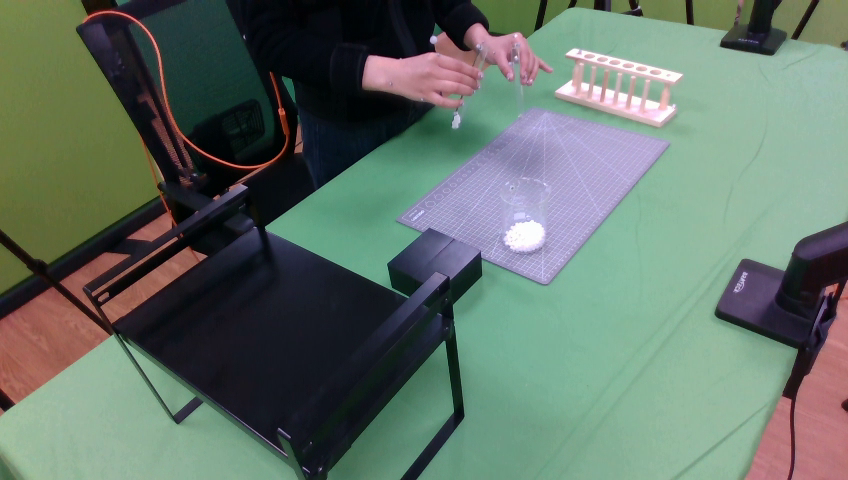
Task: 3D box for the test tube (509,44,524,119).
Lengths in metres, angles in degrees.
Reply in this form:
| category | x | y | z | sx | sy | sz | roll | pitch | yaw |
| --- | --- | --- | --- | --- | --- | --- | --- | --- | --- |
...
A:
| category | x | y | z | sx | sy | sz | roll | pitch | yaw |
| --- | --- | --- | --- | --- | --- | --- | --- | --- | --- |
| test tube | 0.169 | -0.285 | 1.102 | 0.017 | 0.151 | 0.017 | -8 | 45 | 8 |

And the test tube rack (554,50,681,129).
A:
| category | x | y | z | sx | sy | sz | roll | pitch | yaw |
| --- | --- | --- | --- | --- | --- | --- | --- | --- | --- |
| test tube rack | 0.388 | -0.311 | 1.234 | 0.240 | 0.085 | 0.067 | 28 | 52 | 35 |

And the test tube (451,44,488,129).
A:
| category | x | y | z | sx | sy | sz | roll | pitch | yaw |
| --- | --- | --- | --- | --- | --- | --- | --- | --- | --- |
| test tube | 0.074 | -0.251 | 1.003 | 0.017 | 0.150 | 0.017 | 15 | 33 | -9 |

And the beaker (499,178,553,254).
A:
| category | x | y | z | sx | sy | sz | roll | pitch | yaw |
| --- | --- | --- | --- | --- | --- | --- | --- | --- | --- |
| beaker | 0.158 | -0.036 | 0.929 | 0.084 | 0.100 | 0.073 | -16 | 41 | -12 |
